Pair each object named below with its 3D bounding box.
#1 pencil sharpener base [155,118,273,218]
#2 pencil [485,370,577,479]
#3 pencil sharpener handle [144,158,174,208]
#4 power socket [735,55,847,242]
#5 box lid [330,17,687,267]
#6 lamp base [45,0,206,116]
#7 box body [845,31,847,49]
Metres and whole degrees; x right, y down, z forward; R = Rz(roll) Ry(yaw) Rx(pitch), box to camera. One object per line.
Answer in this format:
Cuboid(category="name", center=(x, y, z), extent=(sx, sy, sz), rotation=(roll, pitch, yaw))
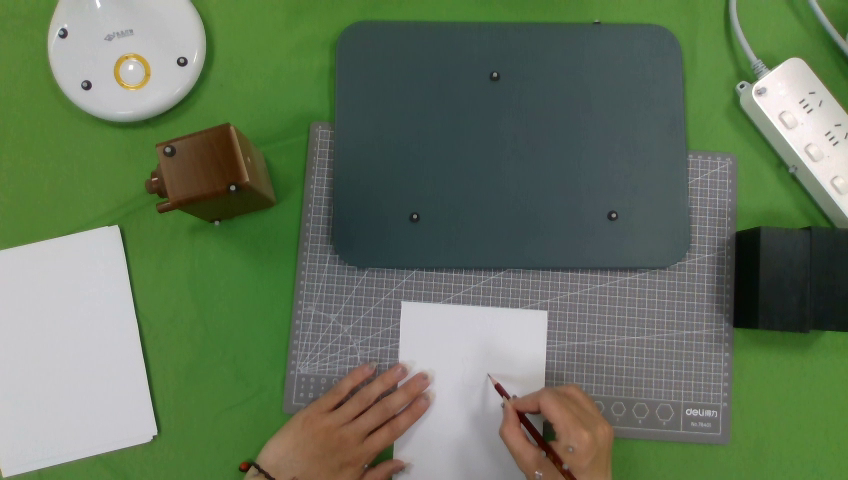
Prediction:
Cuboid(category="pencil sharpener base", center=(-0.197, -0.064, 0.575), extent=(0.077, 0.107, 0.061), rotation=(-16, 85, -2))
Cuboid(category="pencil", center=(0.100, 0.174, 0.533), extent=(0.012, 0.192, 0.012), rotation=(-13, 121, -21))
Cuboid(category="pencil sharpener handle", center=(-0.245, -0.047, 0.560), extent=(0.030, 0.068, 0.035), rotation=(-17, 72, -2))
Cuboid(category="power socket", center=(0.418, -0.092, 0.629), extent=(0.072, 0.032, 0.226), rotation=(-36, 86, -5))
Cuboid(category="box lid", center=(0.090, -0.103, 0.633), extent=(0.372, 0.015, 0.262), rotation=(0, 84, -1))
Cuboid(category="lamp base", center=(-0.312, -0.225, 0.550), extent=(0.160, 0.180, 0.178), rotation=(-27, 83, -4))
Cuboid(category="box body", center=(0.639, -0.166, 0.576), extent=(0.254, 0.160, 0.363), rotation=(-39, 87, -4))
